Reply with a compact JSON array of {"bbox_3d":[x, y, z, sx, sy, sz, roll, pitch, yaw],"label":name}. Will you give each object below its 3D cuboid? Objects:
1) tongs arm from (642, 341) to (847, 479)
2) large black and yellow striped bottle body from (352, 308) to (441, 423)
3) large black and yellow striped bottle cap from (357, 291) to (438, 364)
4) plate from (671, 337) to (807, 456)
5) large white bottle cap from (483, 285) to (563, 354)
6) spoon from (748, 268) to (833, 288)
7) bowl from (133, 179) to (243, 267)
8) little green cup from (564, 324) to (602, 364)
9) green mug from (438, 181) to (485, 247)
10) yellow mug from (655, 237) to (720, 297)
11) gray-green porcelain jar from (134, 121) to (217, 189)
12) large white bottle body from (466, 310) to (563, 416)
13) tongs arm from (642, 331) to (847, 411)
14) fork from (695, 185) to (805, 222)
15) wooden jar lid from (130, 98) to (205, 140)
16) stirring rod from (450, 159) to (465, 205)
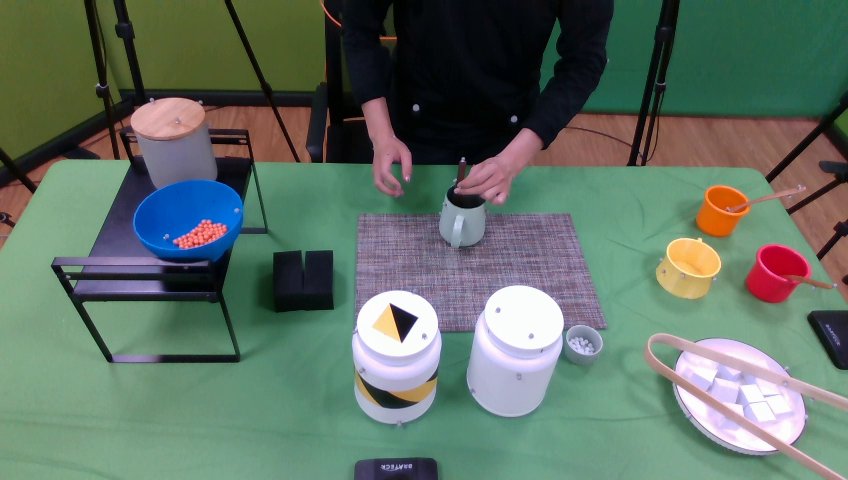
[{"bbox_3d":[0.504,0.278,0.917,0.386,0.028,0.028,34,58,22],"label":"tongs arm"},{"bbox_3d":[-0.042,0.177,0.913,0.131,0.185,0.130,2,46,-2],"label":"large black and yellow striped bottle body"},{"bbox_3d":[-0.037,0.121,0.851,0.115,0.019,0.114,1,46,-1],"label":"large black and yellow striped bottle cap"},{"bbox_3d":[0.503,0.254,0.984,0.208,0.039,0.206,2,46,-2],"label":"plate"},{"bbox_3d":[0.142,0.112,0.871,0.115,0.018,0.114,3,46,-2],"label":"large white bottle cap"},{"bbox_3d":[0.660,0.068,1.097,0.041,0.193,0.021,-4,91,-6],"label":"spoon"},{"bbox_3d":[-0.339,-0.013,0.895,0.151,0.077,0.150,2,46,-2],"label":"bowl"},{"bbox_3d":[0.269,0.179,1.035,0.061,0.039,0.061,2,45,-2],"label":"little green cup"},{"bbox_3d":[0.071,-0.039,1.177,0.092,0.105,0.124,12,47,7],"label":"green mug"},{"bbox_3d":[0.509,0.041,1.167,0.099,0.064,0.130,24,48,18],"label":"yellow mug"},{"bbox_3d":[-0.397,-0.141,0.980,0.106,0.127,0.105,2,47,-2],"label":"gray-green porcelain jar"},{"bbox_3d":[0.138,0.171,0.932,0.131,0.185,0.130,2,46,-2],"label":"large white bottle body"},{"bbox_3d":[0.546,0.227,0.968,0.384,0.026,0.050,22,51,13],"label":"tongs arm"},{"bbox_3d":[0.657,-0.074,1.230,0.207,0.019,0.028,-23,34,37],"label":"fork"},{"bbox_3d":[-0.393,-0.183,0.934,0.108,0.021,0.107,2,43,-2],"label":"wooden jar lid"},{"bbox_3d":[0.059,-0.087,1.145,0.014,0.177,0.006,1,51,-5],"label":"stirring rod"}]
